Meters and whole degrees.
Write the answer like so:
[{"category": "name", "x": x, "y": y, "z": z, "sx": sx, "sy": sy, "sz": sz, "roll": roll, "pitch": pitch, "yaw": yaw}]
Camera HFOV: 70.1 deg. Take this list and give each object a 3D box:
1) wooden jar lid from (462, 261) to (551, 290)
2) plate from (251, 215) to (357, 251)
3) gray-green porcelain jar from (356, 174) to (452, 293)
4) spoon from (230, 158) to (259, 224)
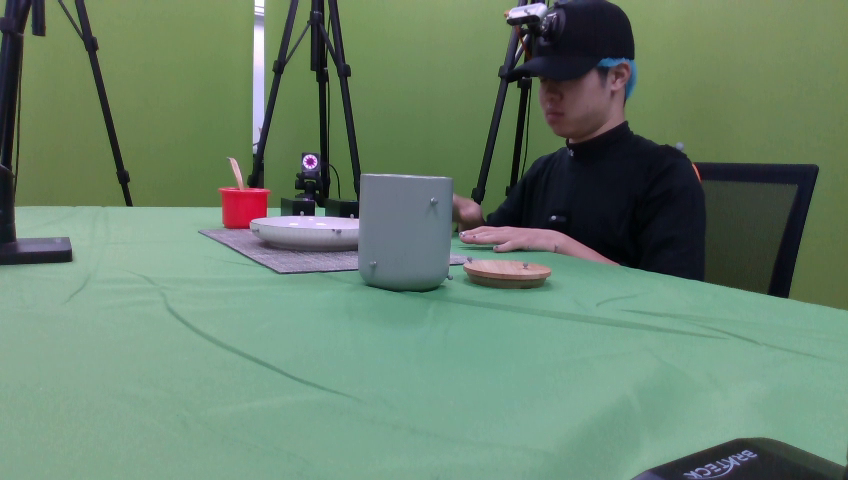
[{"category": "wooden jar lid", "x": 0.100, "y": 0.043, "z": 0.742, "sx": 0.108, "sy": 0.020, "sz": 0.108, "roll": 2, "pitch": 6, "yaw": 0}, {"category": "plate", "x": -0.170, "y": -0.012, "z": 0.971, "sx": 0.208, "sy": 0.039, "sz": 0.207, "roll": 3, "pitch": 7, "yaw": 0}, {"category": "gray-green porcelain jar", "x": -0.023, "y": -0.009, "z": 0.683, "sx": 0.106, "sy": 0.126, "sz": 0.106, "roll": 2, "pitch": 7, "yaw": 0}, {"category": "spoon", "x": -0.366, "y": -0.101, "z": 1.215, "sx": 0.042, "sy": 0.021, "sz": 0.193, "roll": -1, "pitch": 52, "yaw": -30}]
